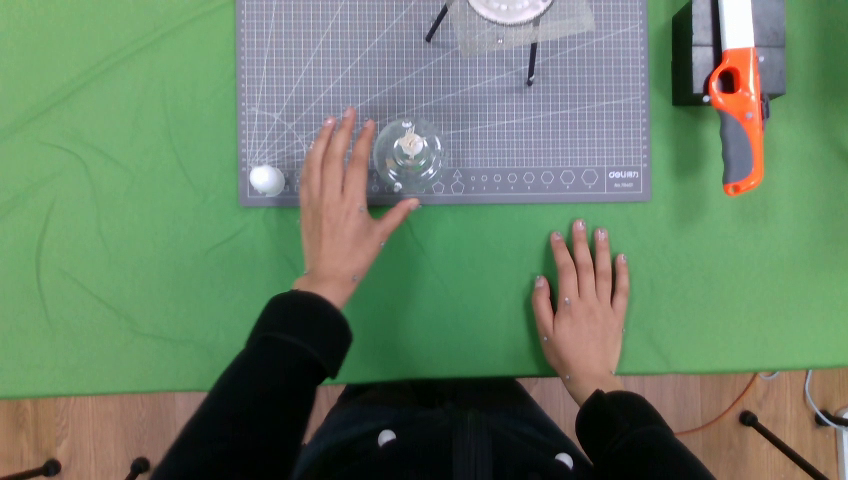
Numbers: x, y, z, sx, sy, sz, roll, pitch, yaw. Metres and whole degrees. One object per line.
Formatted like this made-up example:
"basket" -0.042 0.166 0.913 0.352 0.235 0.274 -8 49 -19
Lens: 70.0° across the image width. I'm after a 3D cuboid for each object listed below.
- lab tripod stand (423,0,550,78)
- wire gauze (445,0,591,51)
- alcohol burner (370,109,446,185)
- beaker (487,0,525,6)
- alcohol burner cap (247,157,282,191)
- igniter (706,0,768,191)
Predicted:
"lab tripod stand" 0.073 -0.241 0.598 0.148 0.131 0.148 0 88 -1
"wire gauze" 0.075 -0.235 0.532 0.125 0.011 0.121 -14 91 -5
"alcohol burner" -0.016 -0.095 0.604 0.078 0.119 0.078 0 91 -3
"beaker" 0.070 -0.240 0.484 0.084 0.100 0.074 -3 88 -2
"alcohol burner cap" -0.169 -0.070 0.631 0.034 0.048 0.034 0 88 -2
"igniter" 0.317 -0.188 0.619 0.057 0.025 0.276 -2 89 9
